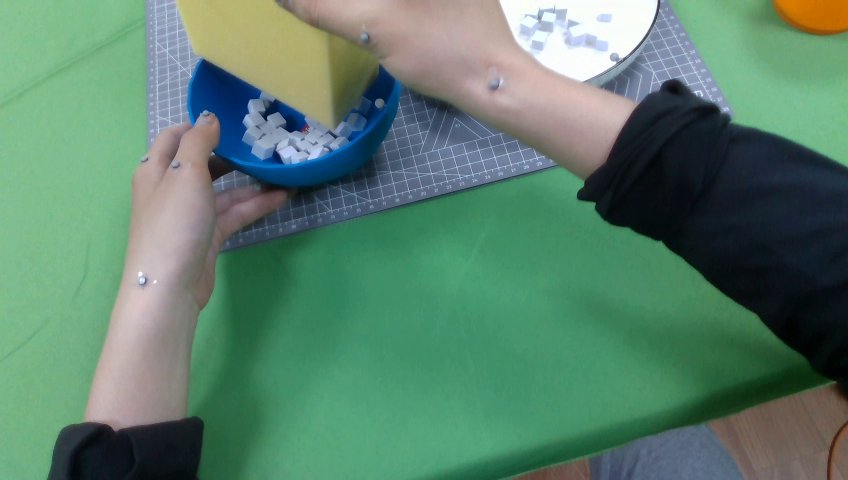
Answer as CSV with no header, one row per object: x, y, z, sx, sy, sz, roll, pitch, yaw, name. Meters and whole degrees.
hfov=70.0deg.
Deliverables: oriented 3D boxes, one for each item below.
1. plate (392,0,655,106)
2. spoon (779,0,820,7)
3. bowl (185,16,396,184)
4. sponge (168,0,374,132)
0.078,-0.190,0.497,0.209,0.038,0.207,-3,64,6,plate
0.347,-0.242,0.431,0.022,0.194,0.041,2,58,-43,spoon
-0.087,-0.095,0.448,0.151,0.077,0.150,-5,63,9,bowl
-0.091,-0.166,0.341,0.118,0.208,0.060,29,66,7,sponge
